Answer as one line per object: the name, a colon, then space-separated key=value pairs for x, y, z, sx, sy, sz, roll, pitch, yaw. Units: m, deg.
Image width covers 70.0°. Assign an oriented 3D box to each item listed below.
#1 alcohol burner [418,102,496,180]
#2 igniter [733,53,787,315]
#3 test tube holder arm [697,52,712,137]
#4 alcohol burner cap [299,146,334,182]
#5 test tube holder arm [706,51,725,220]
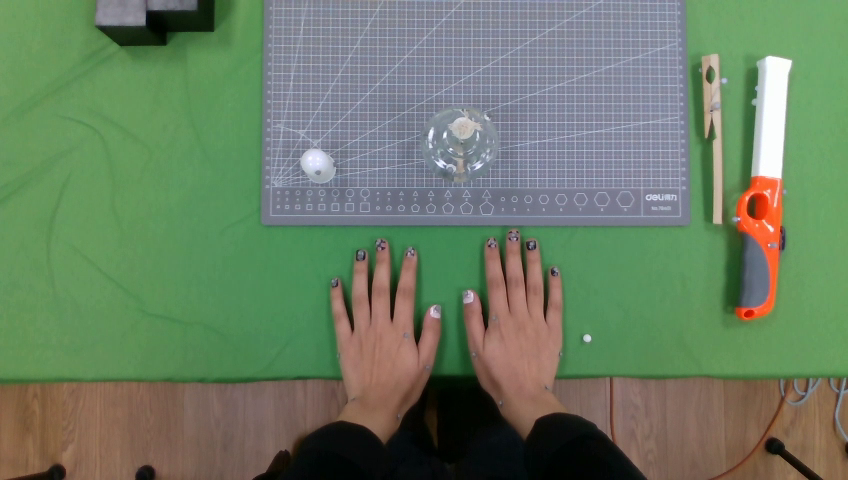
alcohol burner: x=0.034 y=-0.100 z=0.585 sx=0.078 sy=0.119 sz=0.077 roll=0 pitch=85 yaw=-2
igniter: x=0.353 y=-0.058 z=0.634 sx=0.057 sy=0.025 sz=0.276 roll=7 pitch=87 yaw=-10
test tube holder arm: x=0.299 y=-0.154 z=0.644 sx=0.010 sy=0.015 sz=0.087 roll=-5 pitch=87 yaw=33
alcohol burner cap: x=-0.110 y=-0.079 z=0.616 sx=0.034 sy=0.048 sz=0.034 roll=0 pitch=87 yaw=-1
test tube holder arm: x=0.307 y=-0.110 z=0.639 sx=0.013 sy=0.015 sz=0.178 roll=-5 pitch=87 yaw=33
